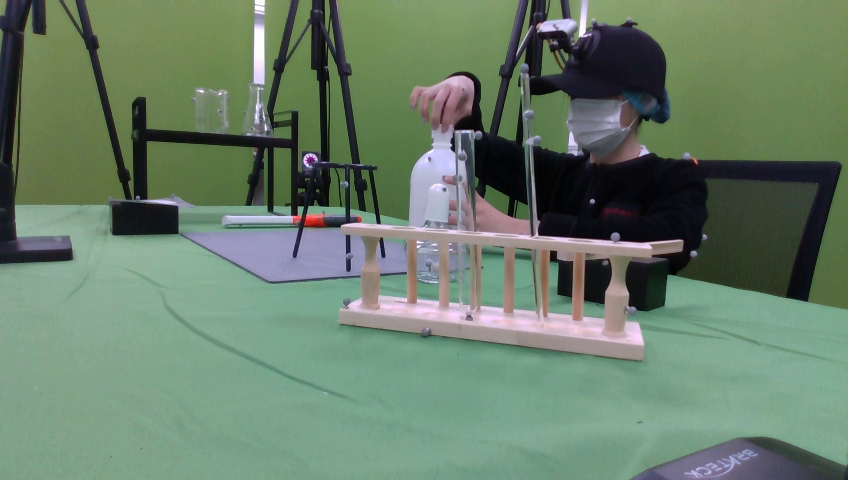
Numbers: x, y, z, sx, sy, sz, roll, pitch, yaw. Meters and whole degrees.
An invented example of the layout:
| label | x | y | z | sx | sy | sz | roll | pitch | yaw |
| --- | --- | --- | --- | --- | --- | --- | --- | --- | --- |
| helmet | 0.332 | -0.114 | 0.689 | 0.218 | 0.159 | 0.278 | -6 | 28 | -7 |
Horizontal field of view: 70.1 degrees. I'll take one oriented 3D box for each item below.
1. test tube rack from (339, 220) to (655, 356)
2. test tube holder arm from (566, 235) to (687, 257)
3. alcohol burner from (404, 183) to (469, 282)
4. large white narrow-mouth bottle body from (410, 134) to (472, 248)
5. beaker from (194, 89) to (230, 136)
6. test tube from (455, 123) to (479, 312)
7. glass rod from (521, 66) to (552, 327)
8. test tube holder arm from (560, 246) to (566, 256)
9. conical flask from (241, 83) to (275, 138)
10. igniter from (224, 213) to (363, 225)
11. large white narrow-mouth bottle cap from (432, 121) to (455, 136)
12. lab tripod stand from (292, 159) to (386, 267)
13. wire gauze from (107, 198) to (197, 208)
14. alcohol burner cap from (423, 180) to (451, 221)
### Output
| label | x | y | z | sx | sy | sz | roll | pitch | yaw |
| --- | --- | --- | --- | --- | --- | --- | --- | --- | --- |
| test tube rack | 0.056 | 0.032 | 0.495 | 0.242 | 0.085 | 0.067 | 4 | 7 | 15 |
| test tube holder arm | 0.215 | 0.006 | 0.630 | 0.179 | 0.015 | 0.013 | -3 | 9 | -30 |
| alcohol burner | 0.015 | -0.011 | 0.715 | 0.078 | 0.119 | 0.078 | 0 | 7 | 0 |
| large white narrow-mouth bottle body | 0.029 | -0.088 | 1.005 | 0.102 | 0.194 | 0.102 | 2 | 8 | 0 |
| beaker | -0.472 | -0.283 | 1.352 | 0.074 | 0.100 | 0.083 | -4 | 10 | -35 |
| test tube | 0.034 | -0.016 | 0.476 | 0.017 | 0.150 | 0.017 | -2 | 10 | 1 |
| glass rod | 0.085 | -0.028 | 0.454 | 0.008 | 0.199 | 0.008 | -7 | 10 | 2 |
| test tube holder arm | 0.173 | 0.007 | 0.611 | 0.088 | 0.015 | 0.010 | -3 | 9 | -30 |
| conical flask | -0.383 | -0.297 | 1.392 | 0.075 | 0.122 | 0.075 | 2 | 7 | 0 |
| igniter | -0.255 | -0.041 | 1.210 | 0.278 | 0.025 | 0.057 | -2 | -2 | -31 |
| large white narrow-mouth bottle cap | 0.032 | -0.183 | 0.991 | 0.038 | 0.024 | 0.037 | 2 | 8 | 0 |
| lab tripod stand | -0.105 | -0.039 | 0.798 | 0.148 | 0.131 | 0.148 | 2 | 5 | 0 |
| wire gauze | -0.462 | -0.064 | 1.023 | 0.126 | 0.011 | 0.121 | -2 | 7 | -32 |
| alcohol burner cap | 0.017 | -0.047 | 0.711 | 0.034 | 0.048 | 0.034 | 8 | 5 | 0 |
